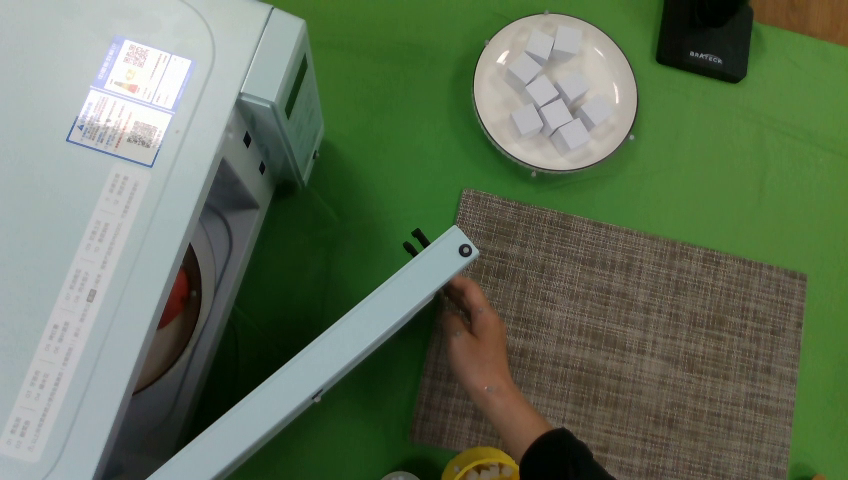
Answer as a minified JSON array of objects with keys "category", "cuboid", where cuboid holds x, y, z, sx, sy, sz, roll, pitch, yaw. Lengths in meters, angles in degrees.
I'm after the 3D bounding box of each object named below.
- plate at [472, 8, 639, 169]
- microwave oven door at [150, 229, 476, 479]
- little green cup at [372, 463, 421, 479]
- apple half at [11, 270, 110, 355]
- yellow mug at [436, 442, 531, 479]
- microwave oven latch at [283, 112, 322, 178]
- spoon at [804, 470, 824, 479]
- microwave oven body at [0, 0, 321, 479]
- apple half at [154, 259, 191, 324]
[{"category":"plate","cuboid":[0.161,-0.185,0.755,0.208,0.039,0.207,1,80,-6]},{"category":"microwave oven door","cuboid":[-0.112,0.127,0.550,0.355,0.244,0.039,-39,85,-11]},{"category":"little green cup","cuboid":[-0.031,0.272,0.654,0.061,0.039,0.061,1,79,-4]},{"category":"apple half","cuboid":[-0.349,0.071,0.572,0.081,0.053,0.074,28,91,-14]},{"category":"yellow mug","cuboid":[0.058,0.288,0.647,0.100,0.064,0.130,25,82,-1]},{"category":"microwave oven latch","cuboid":[-0.139,-0.113,0.693,0.030,0.029,0.079,17,80,-4]},{"category":"spoon","cuboid":[0.498,0.354,0.705,0.041,0.021,0.193,-31,84,-27]},{"category":"microwave oven body","cuboid":[-0.322,-0.009,0.556,0.326,0.260,0.440,17,79,-4]},{"category":"apple half","cuboid":[-0.276,0.045,0.599,0.081,0.033,0.081,1,79,-3]}]
